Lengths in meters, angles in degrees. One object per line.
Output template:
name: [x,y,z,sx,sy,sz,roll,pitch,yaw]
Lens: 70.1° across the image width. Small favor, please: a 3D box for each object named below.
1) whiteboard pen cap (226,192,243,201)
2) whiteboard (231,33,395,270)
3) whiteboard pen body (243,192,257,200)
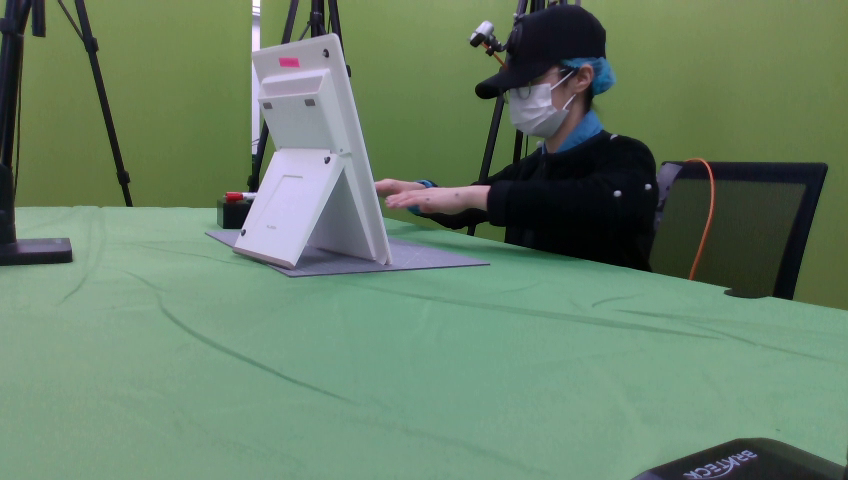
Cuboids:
whiteboard pen cap: [-0.379,-0.087,1.215,0.032,0.017,0.017,-5,10,-37]
whiteboard: [-0.193,-0.094,0.805,0.144,0.305,0.216,-28,25,-35]
whiteboard pen body: [-0.331,-0.091,1.248,0.141,0.017,0.017,-4,9,-35]
